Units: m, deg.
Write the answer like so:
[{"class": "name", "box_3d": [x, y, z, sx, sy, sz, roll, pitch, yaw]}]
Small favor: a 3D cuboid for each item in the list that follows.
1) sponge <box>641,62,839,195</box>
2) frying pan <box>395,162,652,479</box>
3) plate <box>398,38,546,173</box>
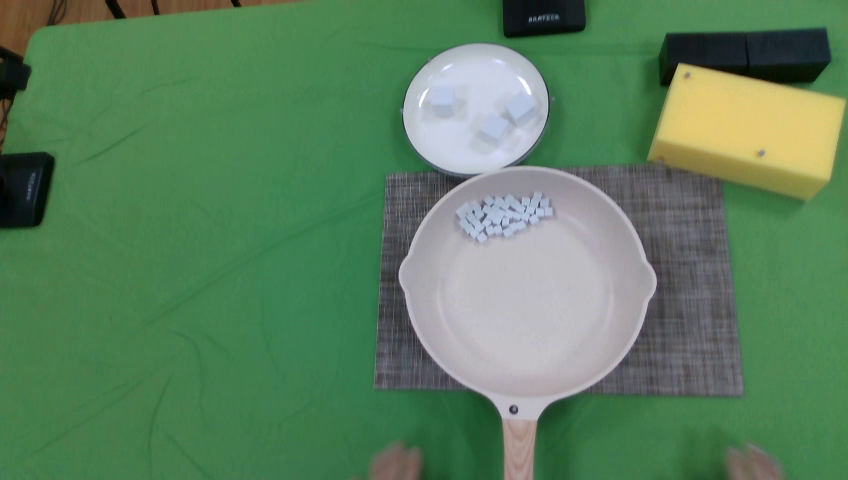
[{"class": "sponge", "box_3d": [0.405, -0.147, 0.786, 0.206, 0.061, 0.117, 16, 73, 13]}, {"class": "frying pan", "box_3d": [0.109, 0.141, 0.714, 0.306, 0.103, 0.484, 2, 65, 10]}, {"class": "plate", "box_3d": [0.068, -0.188, 0.861, 0.207, 0.039, 0.206, -2, 73, 8]}]
